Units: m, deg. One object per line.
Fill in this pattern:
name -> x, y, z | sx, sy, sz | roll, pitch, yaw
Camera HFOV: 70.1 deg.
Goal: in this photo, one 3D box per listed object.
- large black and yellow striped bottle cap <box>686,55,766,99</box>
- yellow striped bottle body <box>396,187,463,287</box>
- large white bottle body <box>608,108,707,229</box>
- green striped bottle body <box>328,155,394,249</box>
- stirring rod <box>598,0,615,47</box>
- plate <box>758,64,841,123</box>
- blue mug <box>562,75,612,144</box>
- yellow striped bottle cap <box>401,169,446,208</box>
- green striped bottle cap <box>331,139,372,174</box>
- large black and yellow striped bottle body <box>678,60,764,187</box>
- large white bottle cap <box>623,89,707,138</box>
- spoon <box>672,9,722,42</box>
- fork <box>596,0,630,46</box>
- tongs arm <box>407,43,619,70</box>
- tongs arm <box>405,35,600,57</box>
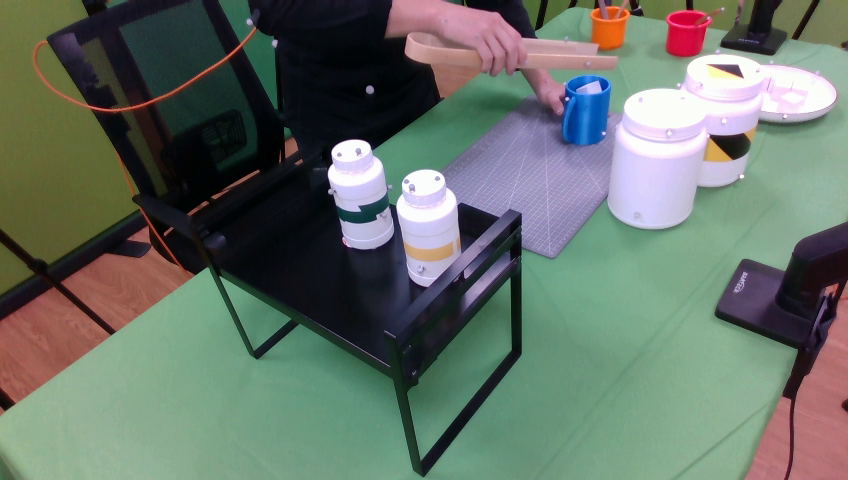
large black and yellow striped bottle cap -> 0.474, -0.258, 0.952 | 0.115, 0.019, 0.114 | -5, 41, 5
yellow striped bottle body -> 0.006, -0.013, 0.638 | 0.063, 0.121, 0.062 | -5, 41, 4
large white bottle body -> 0.361, -0.124, 0.941 | 0.130, 0.185, 0.130 | -5, 41, 4
green striped bottle body -> -0.073, -0.053, 0.699 | 0.063, 0.120, 0.063 | -5, 41, 4
stirring rod -> 0.437, -0.551, 1.462 | 0.014, 0.006, 0.175 | -11, 83, 1
plate -> 0.694, -0.283, 1.189 | 0.207, 0.039, 0.206 | -4, 40, 4
blue mug -> 0.298, -0.239, 1.143 | 0.081, 0.106, 0.117 | 30, 54, 35
yellow striped bottle cap -> 0.000, -0.052, 0.605 | 0.044, 0.019, 0.044 | -4, 43, 4
green striped bottle cap -> -0.080, -0.092, 0.665 | 0.044, 0.020, 0.044 | -3, 40, 3
large black and yellow striped bottle body -> 0.482, -0.196, 1.007 | 0.131, 0.185, 0.130 | -4, 41, 4
large white bottle cap -> 0.352, -0.187, 0.886 | 0.115, 0.018, 0.114 | -4, 41, 4
spoon -> 0.606, -0.476, 1.345 | 0.042, 0.021, 0.193 | -6, -3, -2
fork -> 0.480, -0.556, 1.453 | 0.028, 0.019, 0.207 | 41, 103, 40
tongs arm -> 0.159, -0.293, 0.981 | 0.390, 0.028, 0.028 | -5, 46, -23
tongs arm -> 0.145, -0.316, 1.005 | 0.387, 0.026, 0.050 | -4, 43, -23
